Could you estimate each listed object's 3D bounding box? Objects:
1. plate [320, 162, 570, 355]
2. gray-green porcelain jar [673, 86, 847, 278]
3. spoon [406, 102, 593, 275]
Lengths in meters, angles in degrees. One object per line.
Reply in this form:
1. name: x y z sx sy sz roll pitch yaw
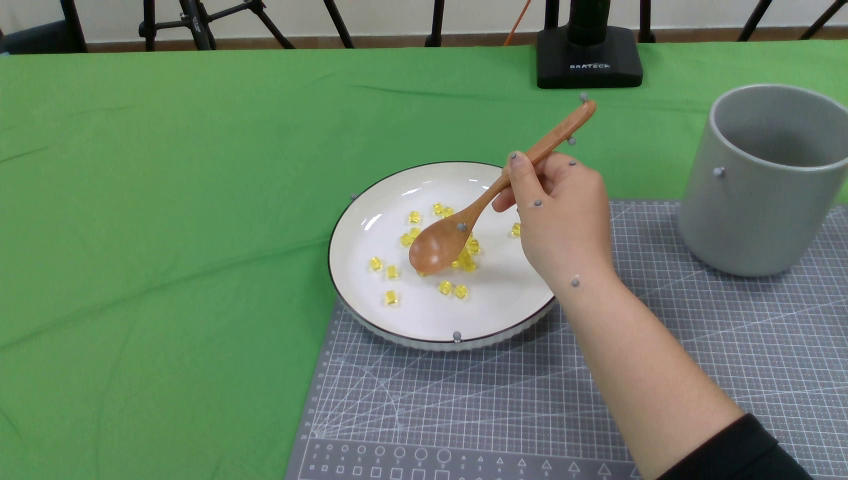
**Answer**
1. plate: 0.017 0.014 0.520 0.207 0.039 0.205 -2 47 3
2. gray-green porcelain jar: 0.263 -0.040 0.484 0.106 0.128 0.105 -3 47 4
3. spoon: 0.055 -0.037 0.475 0.022 0.194 0.041 10 45 -49
